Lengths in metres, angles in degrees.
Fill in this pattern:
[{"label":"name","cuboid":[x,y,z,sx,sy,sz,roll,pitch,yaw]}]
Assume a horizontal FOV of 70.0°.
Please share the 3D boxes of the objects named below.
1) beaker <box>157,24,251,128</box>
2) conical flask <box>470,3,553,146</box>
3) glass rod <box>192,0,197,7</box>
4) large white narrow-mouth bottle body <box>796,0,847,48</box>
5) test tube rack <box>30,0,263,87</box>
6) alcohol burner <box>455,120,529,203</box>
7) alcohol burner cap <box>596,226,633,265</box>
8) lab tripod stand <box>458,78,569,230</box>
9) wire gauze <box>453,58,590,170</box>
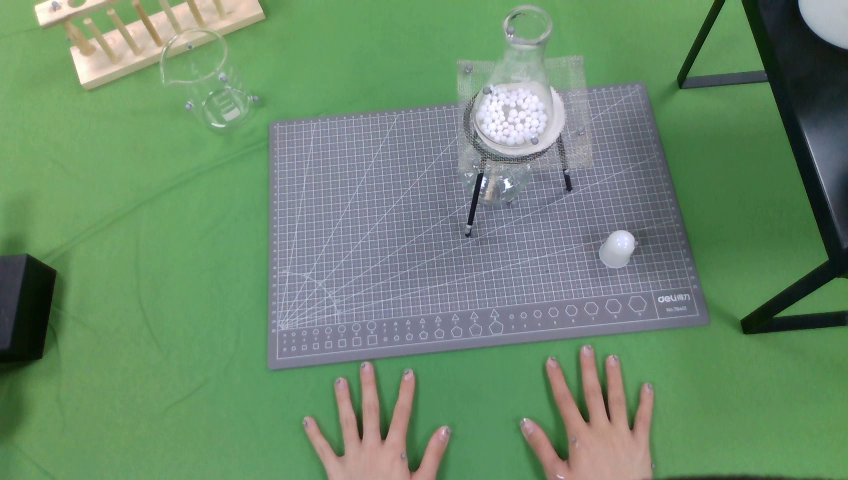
[{"label":"beaker","cuboid":[-0.249,-0.181,0.695,0.073,0.101,0.084,39,75,17]},{"label":"conical flask","cuboid":[0.077,-0.139,0.504,0.075,0.123,0.075,-1,68,2]},{"label":"glass rod","cuboid":[-0.294,-0.347,0.699,0.008,0.201,0.008,1,66,-2]},{"label":"large white narrow-mouth bottle body","cuboid":[0.368,-0.240,0.443,0.102,0.196,0.101,-1,66,2]},{"label":"test tube rack","cuboid":[-0.335,-0.284,0.748,0.242,0.086,0.066,-25,69,-7]},{"label":"alcohol burner","cuboid":[0.072,-0.088,0.630,0.078,0.120,0.077,0,67,1]},{"label":"alcohol burner cap","cuboid":[0.199,0.003,0.626,0.034,0.048,0.033,-1,69,3]},{"label":"lab tripod stand","cuboid":[0.085,-0.091,0.620,0.148,0.132,0.147,-1,66,2]},{"label":"wire gauze","cuboid":[0.088,-0.121,0.561,0.121,0.011,0.124,0,66,0]}]
